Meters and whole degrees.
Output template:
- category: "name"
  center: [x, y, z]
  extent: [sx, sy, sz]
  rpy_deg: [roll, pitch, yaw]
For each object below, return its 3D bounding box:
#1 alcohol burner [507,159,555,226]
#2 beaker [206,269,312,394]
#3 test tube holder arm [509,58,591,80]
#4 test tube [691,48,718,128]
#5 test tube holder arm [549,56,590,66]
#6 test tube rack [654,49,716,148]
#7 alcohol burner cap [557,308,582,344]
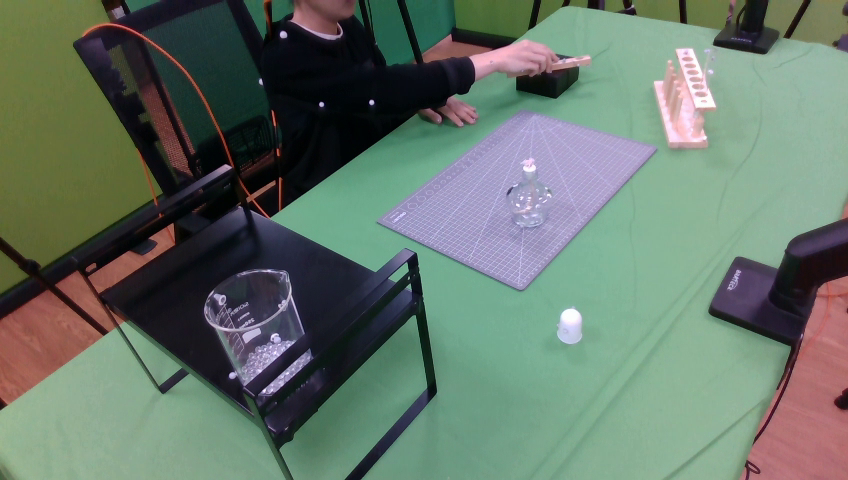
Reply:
- category: "alcohol burner"
  center: [0.172, -0.081, 0.969]
  extent: [0.078, 0.119, 0.077]
  rpy_deg: [-4, 43, 4]
- category: "beaker"
  center: [-0.146, 0.086, 0.560]
  extent: [0.073, 0.101, 0.084]
  rpy_deg: [19, 46, 27]
- category: "test tube holder arm"
  center: [0.269, -0.366, 1.291]
  extent: [0.178, 0.015, 0.013]
  rpy_deg: [-12, 32, -1]
- category: "test tube"
  center: [0.504, -0.271, 1.089]
  extent: [0.017, 0.151, 0.017]
  rpy_deg: [-2, 38, 2]
- category: "test tube holder arm"
  center: [0.313, -0.378, 1.296]
  extent: [0.088, 0.015, 0.010]
  rpy_deg: [-11, 32, 0]
- category: "test tube rack"
  center: [0.502, -0.281, 1.176]
  extent: [0.066, 0.085, 0.241]
  rpy_deg: [2, 41, 11]
- category: "alcohol burner cap"
  center: [0.194, 0.111, 0.802]
  extent: [0.034, 0.048, 0.033]
  rpy_deg: [-4, 39, 4]
